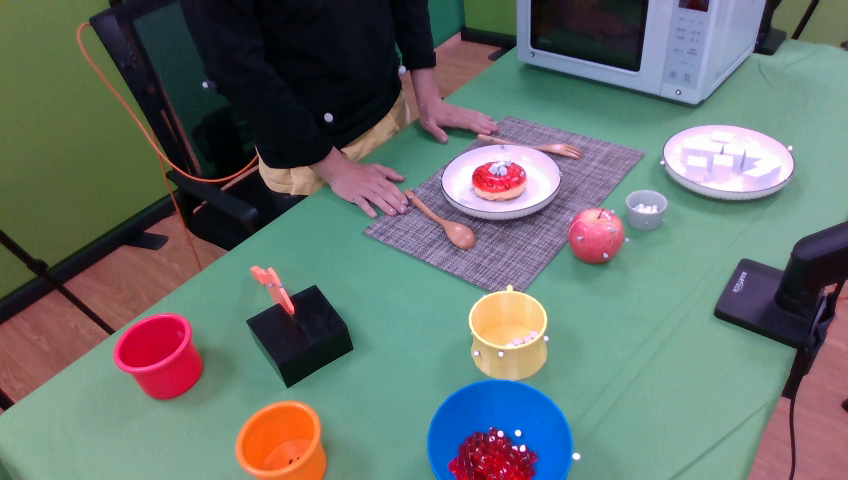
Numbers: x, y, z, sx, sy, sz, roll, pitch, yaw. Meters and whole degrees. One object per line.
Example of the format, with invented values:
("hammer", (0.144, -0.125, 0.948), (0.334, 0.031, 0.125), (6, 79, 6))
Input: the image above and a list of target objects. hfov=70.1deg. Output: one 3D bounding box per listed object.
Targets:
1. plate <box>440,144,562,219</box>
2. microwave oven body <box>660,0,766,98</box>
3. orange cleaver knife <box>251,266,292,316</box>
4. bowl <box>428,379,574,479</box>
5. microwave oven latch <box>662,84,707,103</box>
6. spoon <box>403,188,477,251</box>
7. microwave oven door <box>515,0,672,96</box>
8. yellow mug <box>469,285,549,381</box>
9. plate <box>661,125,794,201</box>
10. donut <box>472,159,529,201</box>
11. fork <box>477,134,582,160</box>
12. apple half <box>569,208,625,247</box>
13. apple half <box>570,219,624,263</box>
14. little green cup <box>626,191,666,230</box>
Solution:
("plate", (0.134, -0.098, 1.051), (0.209, 0.038, 0.208), (-4, 40, 4))
("microwave oven body", (0.472, -0.513, 1.317), (0.438, 0.261, 0.327), (26, 51, 34))
("orange cleaver knife", (-0.221, 0.071, 0.873), (0.012, 0.077, 0.210), (-25, 11, -21))
("bowl", (0.082, 0.233, 0.644), (0.151, 0.077, 0.150), (-4, 40, 4))
("microwave oven latch", (0.517, -0.296, 1.204), (0.078, 0.029, 0.030), (27, 52, 35))
("spoon", (0.020, -0.038, 1.019), (0.042, 0.022, 0.192), (-30, 45, -23))
("microwave oven door", (0.343, -0.454, 1.259), (0.353, 0.245, 0.039), (26, 51, 33))
("yellow mug", (0.112, 0.112, 0.792), (0.100, 0.064, 0.130), (0, 40, 9))
("plate", (0.514, -0.128, 1.035), (0.207, 0.039, 0.206), (-4, 40, 4))
("donut", (0.132, -0.105, 1.043), (0.099, 0.048, 0.098), (-5, 38, 4))
("fork", (0.199, -0.181, 1.155), (0.206, 0.019, 0.028), (13, 55, 22))
("apple half", (0.262, -0.014, 0.913), (0.080, 0.075, 0.053), (4, 37, 20))
("apple half", (0.250, 0.010, 0.885), (0.081, 0.081, 0.033), (7, 39, 17))
("little green cup", (0.352, -0.046, 0.963), (0.061, 0.039, 0.061), (-4, 40, 4))
